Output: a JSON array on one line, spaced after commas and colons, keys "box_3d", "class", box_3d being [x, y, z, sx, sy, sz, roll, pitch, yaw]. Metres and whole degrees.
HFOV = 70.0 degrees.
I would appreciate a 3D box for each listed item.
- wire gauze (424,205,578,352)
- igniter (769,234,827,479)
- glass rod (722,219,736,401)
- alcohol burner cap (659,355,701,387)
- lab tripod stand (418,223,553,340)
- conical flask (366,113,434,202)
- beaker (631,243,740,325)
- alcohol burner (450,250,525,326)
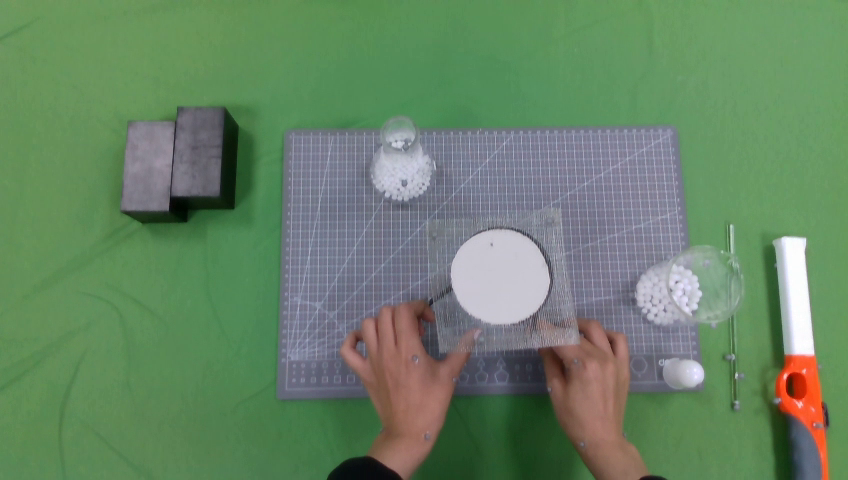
[{"box_3d": [0.066, 0.033, 0.527, 0.125, 0.011, 0.121, -5, 79, -2], "class": "wire gauze"}, {"box_3d": [0.394, 0.130, 0.642, 0.057, 0.025, 0.275, 4, 79, -10], "class": "igniter"}, {"box_3d": [0.334, 0.074, 0.661, 0.008, 0.008, 0.199, 3, 79, -1], "class": "glass rod"}, {"box_3d": [0.268, 0.135, 0.627, 0.034, 0.048, 0.033, 0, 78, -2], "class": "alcohol burner cap"}, {"box_3d": [0.065, 0.044, 0.594, 0.148, 0.132, 0.148, 0, 80, 0], "class": "lab tripod stand"}, {"box_3d": [-0.026, -0.090, 0.624, 0.075, 0.122, 0.075, 0, 78, -1], "class": "conical flask"}, {"box_3d": [0.262, 0.047, 0.616, 0.084, 0.100, 0.074, -38, 82, -8], "class": "beaker"}, {"box_3d": [0.064, 0.045, 0.604, 0.078, 0.119, 0.077, 0, 77, 0], "class": "alcohol burner"}]
